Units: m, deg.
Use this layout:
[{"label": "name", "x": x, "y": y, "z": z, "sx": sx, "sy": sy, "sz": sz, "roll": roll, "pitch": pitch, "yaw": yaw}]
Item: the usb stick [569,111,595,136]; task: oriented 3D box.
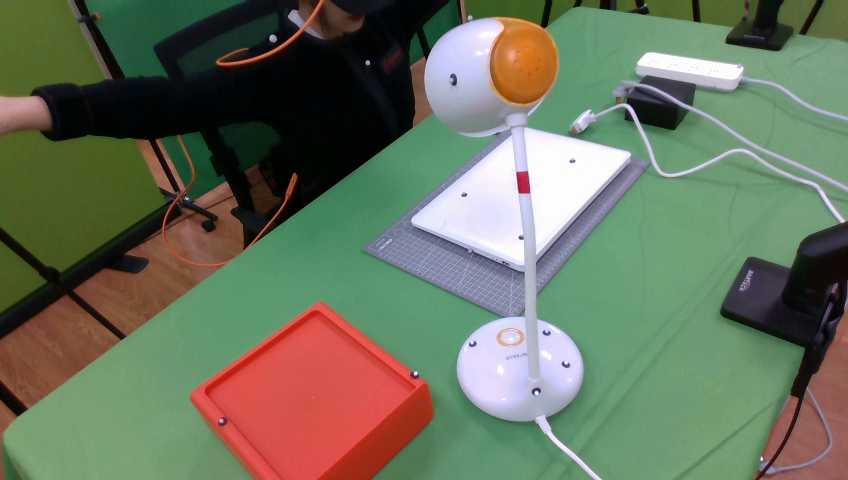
[{"label": "usb stick", "x": 0.309, "y": -0.227, "z": 1.189, "sx": 0.059, "sy": 0.021, "sz": 0.027, "roll": -44, "pitch": 13, "yaw": -20}]

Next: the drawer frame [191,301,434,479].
[{"label": "drawer frame", "x": -0.133, "y": 0.197, "z": 0.731, "sx": 0.211, "sy": 0.083, "sz": 0.202, "roll": 29, "pitch": 52, "yaw": 36}]

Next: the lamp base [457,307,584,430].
[{"label": "lamp base", "x": 0.115, "y": 0.108, "z": 0.713, "sx": 0.161, "sy": 0.181, "sz": 0.178, "roll": -16, "pitch": 43, "yaw": -8}]

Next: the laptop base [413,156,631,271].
[{"label": "laptop base", "x": 0.176, "y": -0.084, "z": 1.055, "sx": 0.233, "sy": 0.023, "sz": 0.355, "roll": 21, "pitch": 48, "yaw": 36}]

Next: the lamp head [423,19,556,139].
[{"label": "lamp head", "x": 0.069, "y": -0.151, "z": 0.563, "sx": 0.113, "sy": 0.113, "sz": 0.122, "roll": -21, "pitch": 18, "yaw": -13}]

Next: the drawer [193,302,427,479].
[{"label": "drawer", "x": -0.136, "y": 0.197, "z": 0.733, "sx": 0.195, "sy": 0.073, "sz": 0.210, "roll": -36, "pitch": 47, "yaw": -29}]

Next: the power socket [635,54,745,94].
[{"label": "power socket", "x": 0.563, "y": -0.358, "z": 1.295, "sx": 0.225, "sy": 0.033, "sz": 0.072, "roll": 21, "pitch": 49, "yaw": 31}]

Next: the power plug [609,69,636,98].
[{"label": "power plug", "x": 0.407, "y": -0.323, "z": 1.232, "sx": 0.035, "sy": 0.072, "sz": 0.052, "roll": 4, "pitch": 40, "yaw": -35}]

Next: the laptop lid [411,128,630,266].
[{"label": "laptop lid", "x": 0.172, "y": -0.093, "z": 1.049, "sx": 0.239, "sy": 0.013, "sz": 0.358, "roll": 23, "pitch": 50, "yaw": 36}]

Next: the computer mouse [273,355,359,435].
[{"label": "computer mouse", "x": -0.138, "y": 0.191, "z": 0.762, "sx": 0.116, "sy": 0.041, "sz": 0.063, "roll": 31, "pitch": 56, "yaw": 35}]
